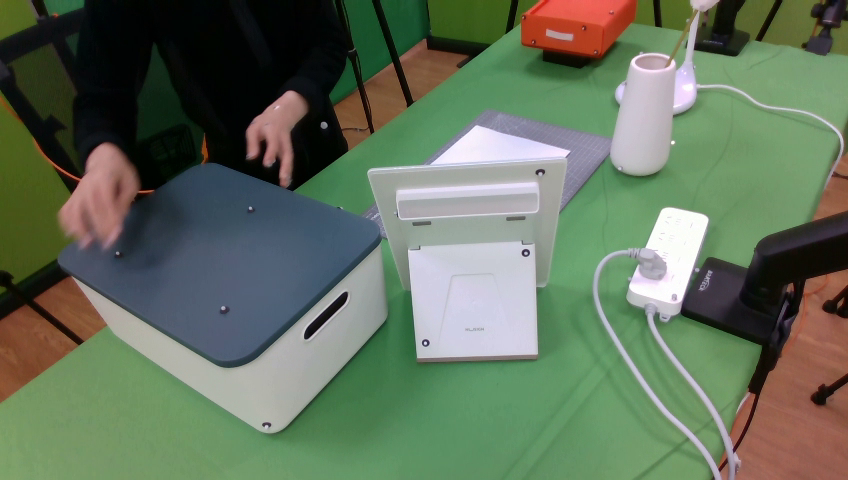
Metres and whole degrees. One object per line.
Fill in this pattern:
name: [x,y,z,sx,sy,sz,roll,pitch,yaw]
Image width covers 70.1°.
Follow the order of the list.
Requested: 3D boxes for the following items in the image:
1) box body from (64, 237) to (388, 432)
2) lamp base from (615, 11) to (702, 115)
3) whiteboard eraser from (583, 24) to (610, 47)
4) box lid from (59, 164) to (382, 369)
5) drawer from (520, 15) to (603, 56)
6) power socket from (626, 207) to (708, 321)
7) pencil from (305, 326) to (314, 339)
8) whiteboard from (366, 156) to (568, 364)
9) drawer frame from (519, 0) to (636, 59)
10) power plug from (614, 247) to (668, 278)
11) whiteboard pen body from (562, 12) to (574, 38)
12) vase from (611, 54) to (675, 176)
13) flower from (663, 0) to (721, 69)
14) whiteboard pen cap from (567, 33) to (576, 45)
box body: [-0.256,0.065,0.827,0.361,0.161,0.255,20,48,29]
lamp base: [0.484,-0.364,1.211,0.180,0.181,0.159,-15,41,-14]
whiteboard eraser: [0.407,-0.479,1.423,0.055,0.042,0.113,-3,9,21]
box lid: [-0.263,0.010,0.777,0.368,0.015,0.264,20,47,29]
drawer: [0.359,-0.517,1.416,0.193,0.073,0.212,20,47,29]
power socket: [0.359,0.025,0.886,0.072,0.033,0.227,16,46,26]
pencil: [-0.187,0.106,0.879,0.012,0.012,0.192,-27,42,-22]
whiteboard: [0.059,0.050,0.738,0.217,0.307,0.143,-2,60,6]
drawer frame: [0.362,-0.518,1.423,0.200,0.083,0.214,19,48,29]
power plug: [0.306,0.031,0.851,0.072,0.053,0.035,24,49,33]
whiteboard pen body: [0.342,-0.507,1.430,0.017,0.017,0.140,-2,41,6]
vase: [0.377,-0.209,1.031,0.098,0.201,0.097,-3,40,3]
flower: [0.379,-0.261,0.965,0.044,0.362,0.038,20,52,5]
whiteboard pen cap: [0.339,-0.463,1.390,0.018,0.018,0.033,-2,44,6]
